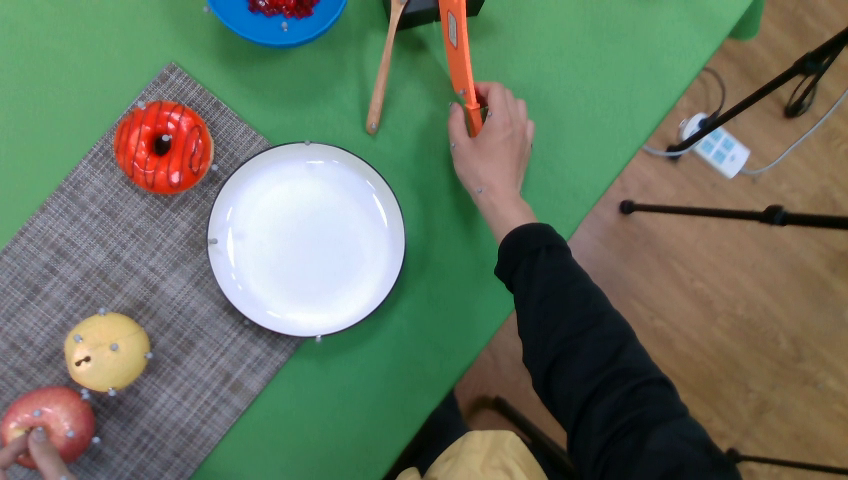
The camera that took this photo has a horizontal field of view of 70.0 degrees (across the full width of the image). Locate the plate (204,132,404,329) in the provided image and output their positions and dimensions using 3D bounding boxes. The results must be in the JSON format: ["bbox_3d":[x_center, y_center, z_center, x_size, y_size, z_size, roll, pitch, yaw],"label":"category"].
[{"bbox_3d":[-0.126,-0.010,0.654,0.209,0.038,0.209,0,90,-8],"label":"plate"}]

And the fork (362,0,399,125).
[{"bbox_3d":[-0.040,-0.223,0.644,0.028,0.018,0.208,10,109,-14],"label":"fork"}]

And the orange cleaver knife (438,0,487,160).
[{"bbox_3d":[0.039,-0.190,0.657,0.012,0.076,0.213,-20,122,-9],"label":"orange cleaver knife"}]

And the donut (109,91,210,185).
[{"bbox_3d":[-0.274,-0.105,0.631,0.099,0.048,0.099,0,93,-6],"label":"donut"}]

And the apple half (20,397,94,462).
[{"bbox_3d":[-0.355,0.194,0.606,0.033,0.081,0.081,43,85,-2],"label":"apple half"}]

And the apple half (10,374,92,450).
[{"bbox_3d":[-0.376,0.170,0.604,0.053,0.074,0.081,19,94,-5],"label":"apple half"}]

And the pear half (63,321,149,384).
[{"bbox_3d":[-0.313,0.115,0.593,0.076,0.109,0.056,-21,92,-4],"label":"pear half"}]

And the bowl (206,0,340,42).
[{"bbox_3d":[-0.155,-0.274,0.633,0.152,0.076,0.151,0,90,-8],"label":"bowl"}]

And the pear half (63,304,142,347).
[{"bbox_3d":[-0.324,0.082,0.602,0.070,0.088,0.031,-21,92,-2],"label":"pear half"}]
